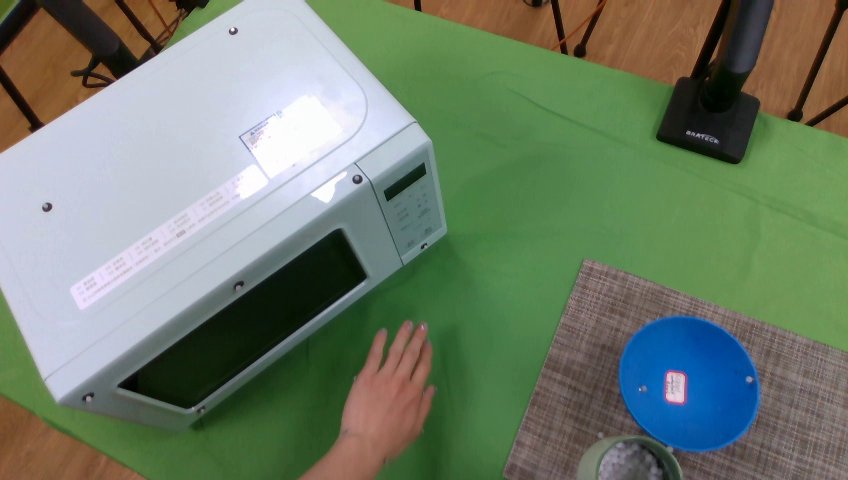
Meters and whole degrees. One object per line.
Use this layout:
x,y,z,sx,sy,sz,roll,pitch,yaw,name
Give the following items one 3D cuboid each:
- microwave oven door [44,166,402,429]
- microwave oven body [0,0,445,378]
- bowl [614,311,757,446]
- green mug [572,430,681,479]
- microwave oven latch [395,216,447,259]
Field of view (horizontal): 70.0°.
-0.192,0.078,0.688,0.356,0.246,0.039,-37,67,-9,microwave oven door
-0.246,-0.048,0.752,0.441,0.262,0.323,-37,69,-9,microwave oven body
0.293,0.165,0.705,0.151,0.077,0.150,-2,67,5,bowl
0.208,0.243,0.589,0.092,0.106,0.124,-41,70,-11,green mug
-0.006,-0.010,0.816,0.079,0.030,0.030,-35,69,-8,microwave oven latch
